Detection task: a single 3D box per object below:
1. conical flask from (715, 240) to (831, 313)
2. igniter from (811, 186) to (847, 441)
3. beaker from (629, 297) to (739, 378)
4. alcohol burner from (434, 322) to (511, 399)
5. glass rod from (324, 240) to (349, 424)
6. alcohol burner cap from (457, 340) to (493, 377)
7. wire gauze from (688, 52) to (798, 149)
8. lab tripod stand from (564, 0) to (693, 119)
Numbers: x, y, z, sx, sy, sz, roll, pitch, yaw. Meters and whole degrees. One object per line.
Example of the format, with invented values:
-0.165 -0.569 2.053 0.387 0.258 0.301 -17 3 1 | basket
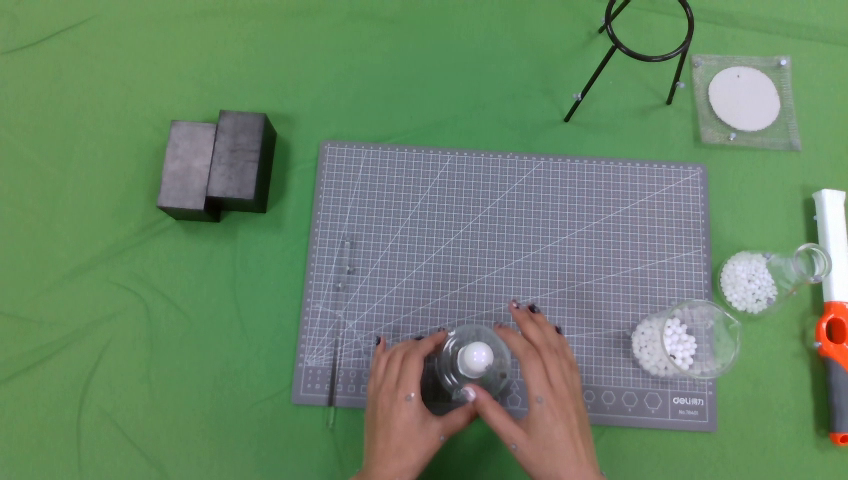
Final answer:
0.359 0.031 0.619 0.075 0.122 0.075 0 76 0 | conical flask
0.449 0.075 0.658 0.057 0.025 0.275 7 77 -10 | igniter
0.257 0.100 0.611 0.084 0.100 0.073 -19 78 -5 | beaker
0.048 0.117 0.598 0.078 0.119 0.077 0 75 2 | alcohol burner
-0.094 0.097 0.655 0.008 0.008 0.199 5 80 0 | glass rod
0.049 0.108 0.563 0.034 0.048 0.033 2 71 -4 | alcohol burner cap
0.382 -0.169 0.724 0.125 0.011 0.121 3 77 -2 | wire gauze
0.223 -0.203 0.666 0.148 0.132 0.147 0 79 0 | lab tripod stand
